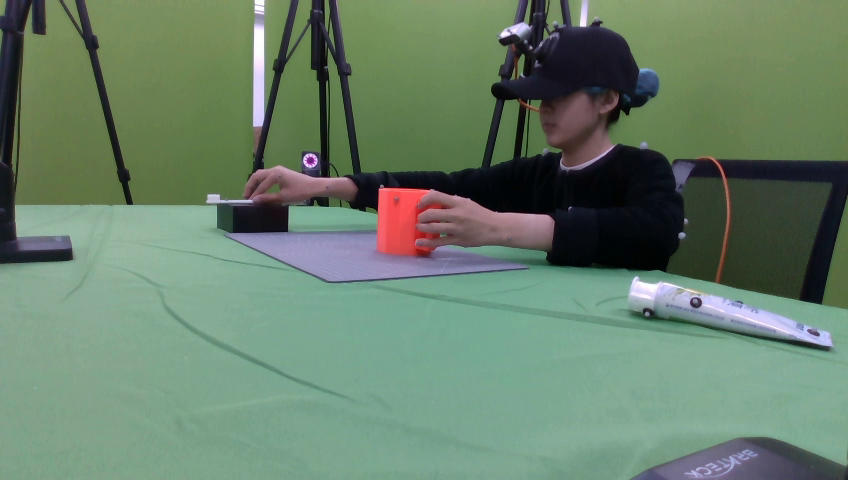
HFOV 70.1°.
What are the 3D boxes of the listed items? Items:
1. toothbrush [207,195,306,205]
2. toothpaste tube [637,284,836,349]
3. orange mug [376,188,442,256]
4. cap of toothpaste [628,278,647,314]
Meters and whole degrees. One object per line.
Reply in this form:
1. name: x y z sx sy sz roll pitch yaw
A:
1. toothbrush: -0.307 -0.073 1.118 0.183 0.016 0.014 0 4 -31
2. toothpaste tube: 0.275 0.070 0.550 0.164 0.034 0.055 11 15 28
3. orange mug: -0.018 -0.028 0.914 0.084 0.100 0.125 -2 5 -38
4. cap of toothpaste: 0.209 0.055 0.589 0.011 0.037 0.037 11 11 28
